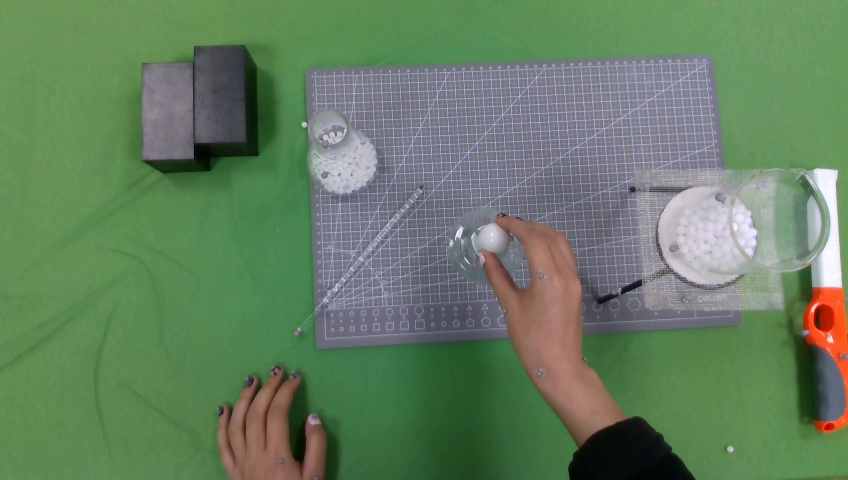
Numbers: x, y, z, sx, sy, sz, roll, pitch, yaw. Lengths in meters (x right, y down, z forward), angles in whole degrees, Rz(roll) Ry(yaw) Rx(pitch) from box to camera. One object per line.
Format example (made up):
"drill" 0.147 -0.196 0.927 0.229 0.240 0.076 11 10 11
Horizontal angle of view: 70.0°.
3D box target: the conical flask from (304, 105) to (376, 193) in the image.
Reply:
"conical flask" -0.086 -0.093 0.585 0.075 0.122 0.075 0 83 -2

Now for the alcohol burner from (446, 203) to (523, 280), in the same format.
"alcohol burner" 0.060 -0.001 0.587 0.078 0.119 0.077 0 84 0

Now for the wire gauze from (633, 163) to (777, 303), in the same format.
"wire gauze" 0.243 -0.006 0.520 0.125 0.011 0.121 0 87 -4

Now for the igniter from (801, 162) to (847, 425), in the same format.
"igniter" 0.426 0.054 0.644 0.057 0.025 0.276 3 84 -13

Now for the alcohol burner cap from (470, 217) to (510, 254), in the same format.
"alcohol burner cap" 0.061 -0.006 0.551 0.034 0.048 0.034 1 82 -6

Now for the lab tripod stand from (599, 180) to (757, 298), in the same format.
"lab tripod stand" 0.240 0.003 0.585 0.148 0.131 0.148 0 86 -2

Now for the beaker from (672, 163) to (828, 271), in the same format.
"beaker" 0.247 -0.015 0.472 0.074 0.100 0.084 33 84 1

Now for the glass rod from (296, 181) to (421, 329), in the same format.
"glass rod" -0.067 0.014 0.631 0.008 0.008 0.199 39 84 2
